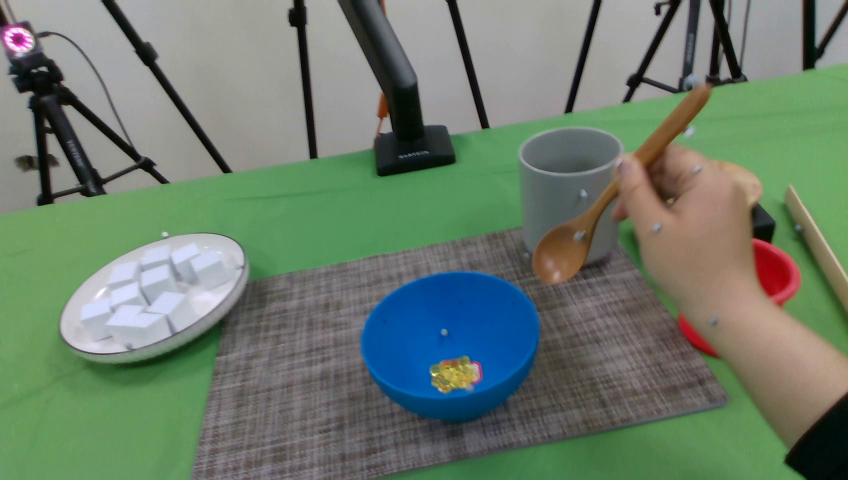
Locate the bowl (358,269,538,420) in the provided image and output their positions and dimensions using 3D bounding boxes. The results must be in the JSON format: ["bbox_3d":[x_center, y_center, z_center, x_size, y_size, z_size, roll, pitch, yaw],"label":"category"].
[{"bbox_3d":[0.025,0.101,0.524,0.151,0.077,0.150,-6,35,5],"label":"bowl"}]

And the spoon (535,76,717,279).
[{"bbox_3d":[0.132,-0.034,0.418,0.022,0.194,0.041,-14,61,-31],"label":"spoon"}]

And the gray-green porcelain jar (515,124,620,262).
[{"bbox_3d":[0.154,-0.045,0.653,0.106,0.128,0.105,-7,36,5],"label":"gray-green porcelain jar"}]

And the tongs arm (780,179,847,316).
[{"bbox_3d":[0.397,0.054,0.550,0.028,0.028,0.384,-1,37,9],"label":"tongs arm"}]

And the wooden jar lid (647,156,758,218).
[{"bbox_3d":[0.295,-0.056,0.646,0.108,0.021,0.107,-7,35,6],"label":"wooden jar lid"}]

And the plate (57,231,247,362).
[{"bbox_3d":[-0.302,0.064,0.692,0.209,0.038,0.207,-7,36,6],"label":"plate"}]
